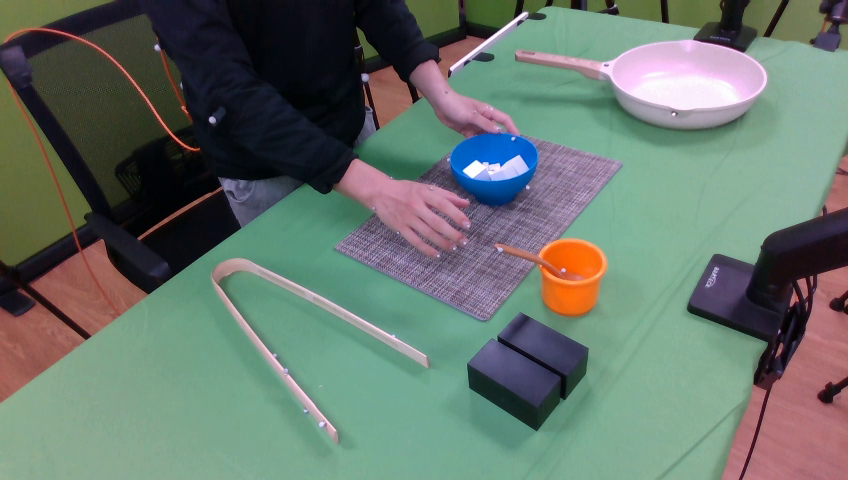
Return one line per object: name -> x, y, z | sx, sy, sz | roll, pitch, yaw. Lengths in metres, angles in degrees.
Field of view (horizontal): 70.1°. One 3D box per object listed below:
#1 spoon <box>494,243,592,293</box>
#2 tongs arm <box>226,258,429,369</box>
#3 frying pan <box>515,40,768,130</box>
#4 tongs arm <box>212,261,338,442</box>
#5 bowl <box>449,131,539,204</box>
spoon -> 0.162, 0.034, 0.808 | 0.021, 0.195, 0.041 | -47, 40, 21
tongs arm -> -0.150, 0.098, 0.873 | 0.384, 0.028, 0.028 | 22, 50, 30
frying pan -> 0.423, -0.338, 1.236 | 0.486, 0.103, 0.307 | 16, 44, 13
tongs arm -> -0.208, 0.136, 0.830 | 0.051, 0.026, 0.381 | -31, 45, -28
bowl -> 0.121, -0.114, 1.034 | 0.151, 0.077, 0.150 | -4, 41, 4
